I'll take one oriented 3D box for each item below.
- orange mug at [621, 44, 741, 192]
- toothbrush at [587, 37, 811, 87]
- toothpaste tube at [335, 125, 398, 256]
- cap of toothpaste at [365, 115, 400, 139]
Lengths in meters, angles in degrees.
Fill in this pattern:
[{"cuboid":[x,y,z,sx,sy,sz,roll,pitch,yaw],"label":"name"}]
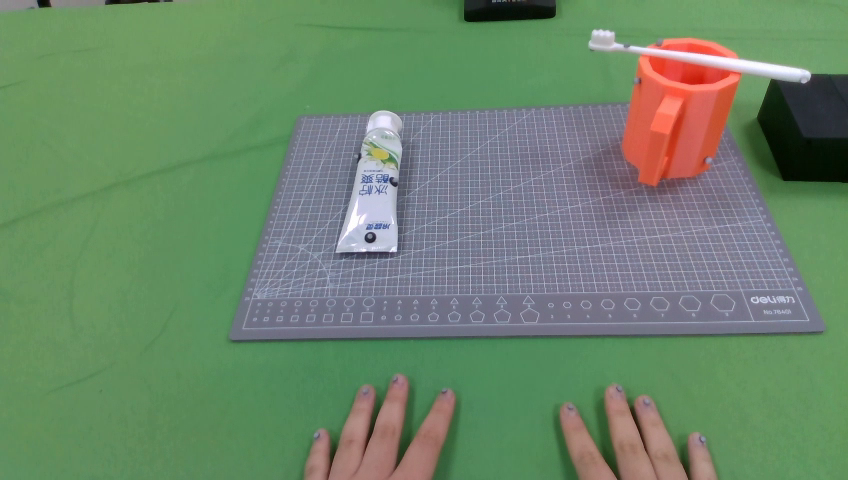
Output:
[{"cuboid":[0.224,-0.105,0.546,0.083,0.102,0.126,20,48,23],"label":"orange mug"},{"cuboid":[0.230,-0.153,0.519,0.181,0.017,0.014,17,45,20],"label":"toothbrush"},{"cuboid":[-0.048,-0.051,0.571,0.055,0.035,0.163,-4,50,8],"label":"toothpaste tube"},{"cuboid":[-0.043,-0.111,0.618,0.037,0.038,0.011,2,53,7],"label":"cap of toothpaste"}]
